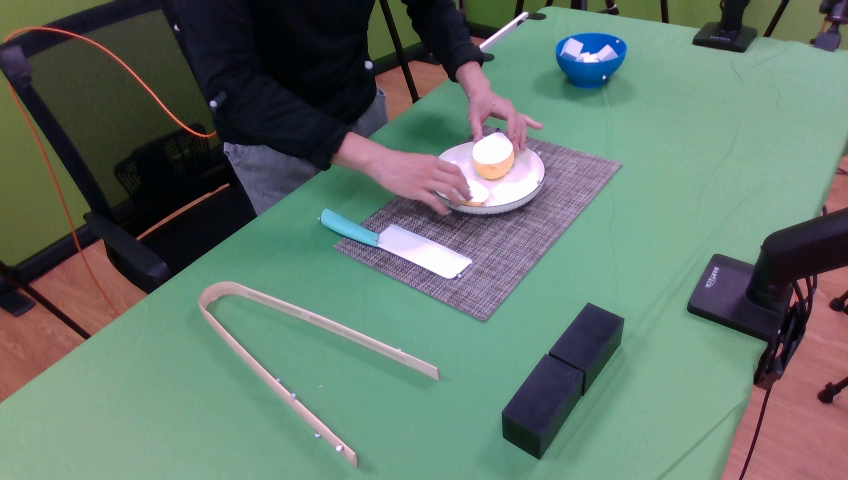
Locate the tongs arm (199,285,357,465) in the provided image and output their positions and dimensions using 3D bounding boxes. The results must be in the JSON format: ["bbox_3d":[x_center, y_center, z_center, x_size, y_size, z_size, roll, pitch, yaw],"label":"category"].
[{"bbox_3d":[-0.199,0.162,0.797,0.381,0.026,0.051,28,50,35],"label":"tongs arm"}]

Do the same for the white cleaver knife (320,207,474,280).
[{"bbox_3d":[-0.052,0.000,0.977,0.284,0.021,0.066,24,44,26],"label":"white cleaver knife"}]

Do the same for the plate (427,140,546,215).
[{"bbox_3d":[0.109,-0.106,1.059,0.207,0.039,0.206,-4,41,4],"label":"plate"}]

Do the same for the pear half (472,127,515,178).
[{"bbox_3d":[0.127,-0.157,1.081,0.076,0.056,0.109,9,52,13],"label":"pear half"}]

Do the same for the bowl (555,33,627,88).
[{"bbox_3d":[0.360,-0.384,1.318,0.151,0.077,0.150,-4,41,4],"label":"bowl"}]

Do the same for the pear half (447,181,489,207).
[{"bbox_3d":[0.069,-0.072,1.017,0.070,0.031,0.088,28,32,34],"label":"pear half"}]

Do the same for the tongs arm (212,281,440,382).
[{"bbox_3d":[-0.148,0.121,0.846,0.385,0.028,0.028,17,48,25],"label":"tongs arm"}]
